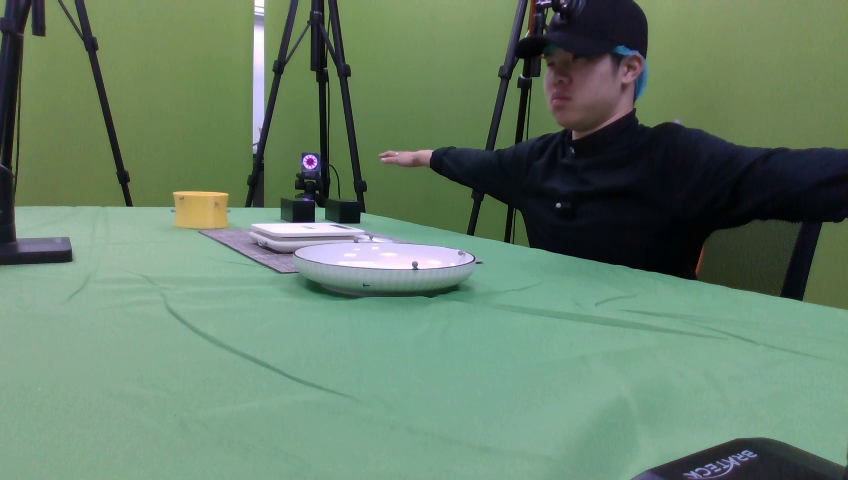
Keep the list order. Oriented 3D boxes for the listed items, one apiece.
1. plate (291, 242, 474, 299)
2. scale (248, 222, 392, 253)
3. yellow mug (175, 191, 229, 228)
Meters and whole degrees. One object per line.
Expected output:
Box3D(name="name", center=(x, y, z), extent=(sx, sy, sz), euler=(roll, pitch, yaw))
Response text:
Box3D(name="plate", center=(-0.047, 0.033, 0.693), extent=(0.209, 0.038, 0.209), euler=(3, 7, 0))
Box3D(name="scale", center=(-0.162, -0.006, 0.954), extent=(0.202, 0.031, 0.148), euler=(-1, 9, -32))
Box3D(name="yellow mug", center=(-0.427, -0.062, 1.189), extent=(0.100, 0.064, 0.131), euler=(4, 7, 13))
